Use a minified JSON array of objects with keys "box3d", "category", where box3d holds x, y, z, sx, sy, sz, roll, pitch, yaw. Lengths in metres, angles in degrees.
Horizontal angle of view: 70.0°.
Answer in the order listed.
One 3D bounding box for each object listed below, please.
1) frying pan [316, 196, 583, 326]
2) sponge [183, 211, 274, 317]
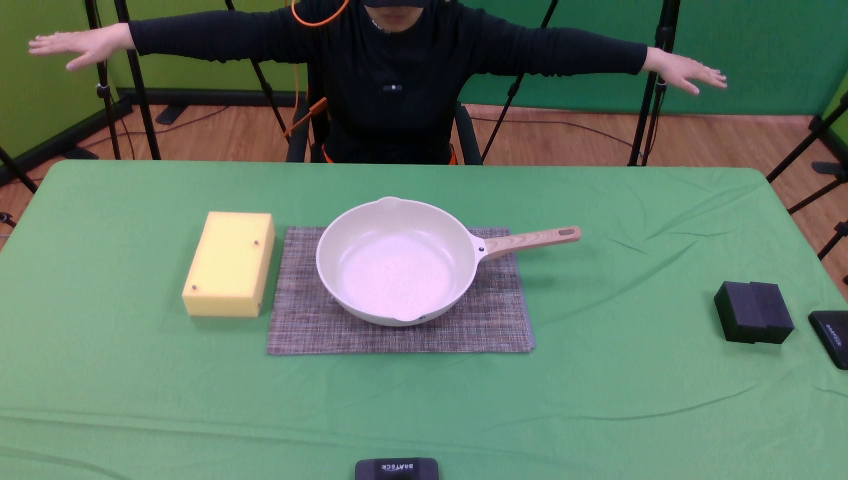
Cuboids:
[{"box3d":[0.054,0.027,1.114,0.488,0.103,0.304,-9,48,-1],"category":"frying pan"},{"box3d":[-0.351,0.041,1.107,0.118,0.061,0.205,1,46,-3],"category":"sponge"}]
